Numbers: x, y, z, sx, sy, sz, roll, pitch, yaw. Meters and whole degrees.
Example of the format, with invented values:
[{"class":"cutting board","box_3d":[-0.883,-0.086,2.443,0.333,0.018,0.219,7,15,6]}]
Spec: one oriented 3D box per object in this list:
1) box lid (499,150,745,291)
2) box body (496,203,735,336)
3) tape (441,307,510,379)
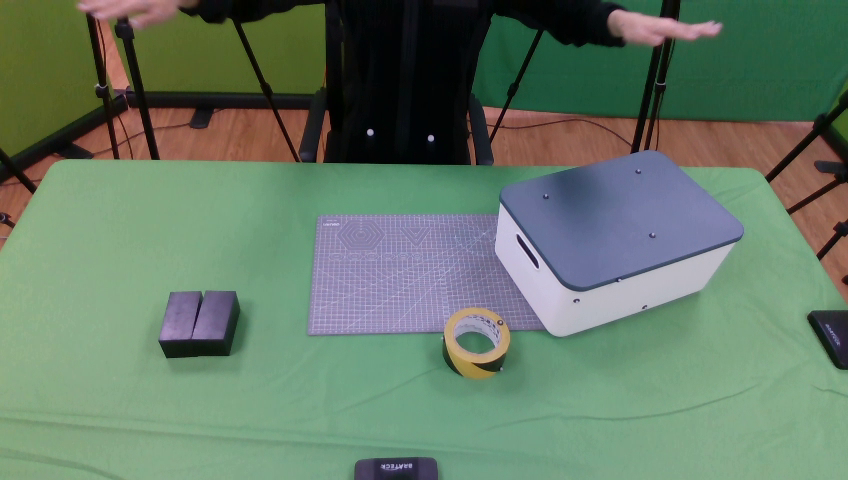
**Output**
[{"class":"box lid","box_3d":[0.341,-0.049,1.064,0.372,0.015,0.261,-15,48,-18]},{"class":"box body","box_3d":[0.340,0.003,1.118,0.364,0.161,0.252,-15,49,-18]},{"class":"tape","box_3d":[0.087,0.172,1.014,0.117,0.053,0.116,2,48,-2]}]
